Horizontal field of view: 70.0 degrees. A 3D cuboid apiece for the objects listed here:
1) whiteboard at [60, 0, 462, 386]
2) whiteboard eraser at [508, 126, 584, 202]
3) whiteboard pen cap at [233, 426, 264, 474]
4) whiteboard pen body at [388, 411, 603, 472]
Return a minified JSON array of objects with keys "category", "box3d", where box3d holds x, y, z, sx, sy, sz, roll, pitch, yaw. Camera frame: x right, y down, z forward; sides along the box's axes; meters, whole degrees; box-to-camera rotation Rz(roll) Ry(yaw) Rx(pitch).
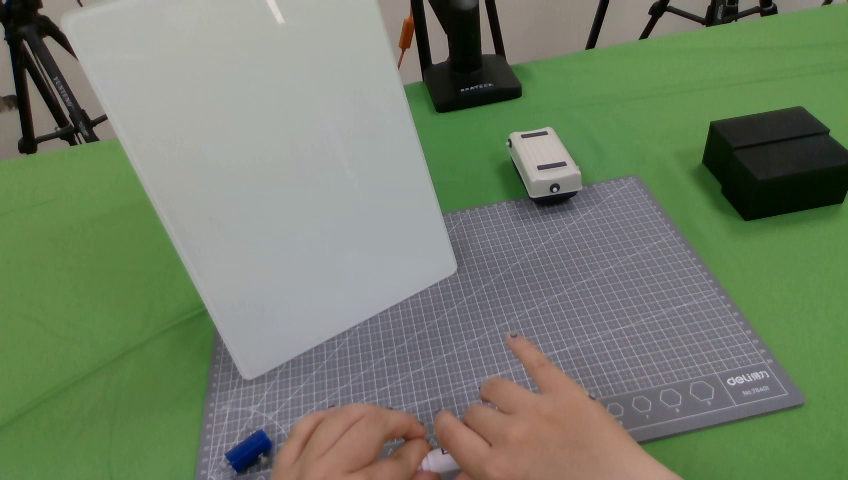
[{"category":"whiteboard","box3d":[-0.127,-0.073,0.538,0.217,0.308,0.142,-26,25,-18]},{"category":"whiteboard eraser","box3d":[0.130,-0.083,0.661,0.055,0.042,0.111,-12,38,0]},{"category":"whiteboard pen cap","box3d":[-0.131,0.157,0.450,0.018,0.018,0.033,0,60,10]},{"category":"whiteboard pen body","box3d":[0.046,0.131,0.387,0.141,0.017,0.017,-11,41,-5]}]
